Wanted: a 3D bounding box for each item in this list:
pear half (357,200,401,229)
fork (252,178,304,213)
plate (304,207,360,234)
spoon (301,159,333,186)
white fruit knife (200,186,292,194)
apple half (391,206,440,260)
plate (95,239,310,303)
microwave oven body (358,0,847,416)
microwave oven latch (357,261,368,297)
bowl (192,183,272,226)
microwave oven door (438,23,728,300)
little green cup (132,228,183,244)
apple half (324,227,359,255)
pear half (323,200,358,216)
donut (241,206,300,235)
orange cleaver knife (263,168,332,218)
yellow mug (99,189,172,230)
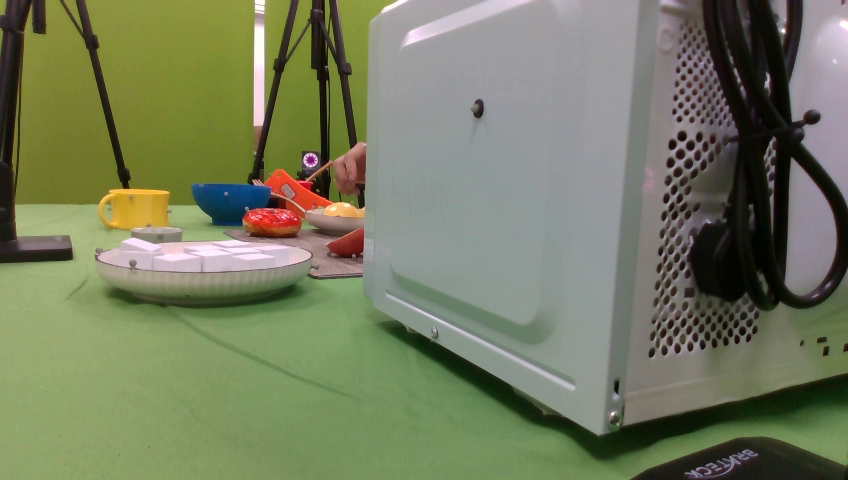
[{"bbox_3d":[-0.075,-0.046,1.132,0.076,0.056,0.110,12,5,30],"label":"pear half"},{"bbox_3d":[-0.295,-0.084,1.292,0.206,0.018,0.028,29,11,25],"label":"fork"},{"bbox_3d":[-0.123,-0.037,1.149,0.209,0.038,0.209,2,7,0],"label":"plate"},{"bbox_3d":[-0.316,-0.159,1.639,0.194,0.022,0.041,-49,32,-20],"label":"spoon"},{"bbox_3d":[-0.399,-0.111,1.368,0.208,0.016,0.027,-4,-19,-30],"label":"white fruit knife"},{"bbox_3d":[-0.006,-0.009,0.837,0.053,0.074,0.081,10,5,23],"label":"apple half"},{"bbox_3d":[-0.224,0.031,0.629,0.208,0.039,0.207,2,7,0],"label":"plate"},{"bbox_3d":[0.211,-0.047,0.474,0.444,0.260,0.324,-1,7,-28],"label":"microwave oven body"},{"bbox_3d":[-0.019,0.033,0.531,0.079,0.029,0.030,-1,7,-27],"label":"microwave oven latch"},{"bbox_3d":[-0.381,-0.071,1.202,0.151,0.077,0.151,3,7,0],"label":"bowl"},{"bbox_3d":[0.181,-0.072,0.621,0.358,0.243,0.039,-2,8,-29],"label":"microwave oven door"},{"bbox_3d":[-0.342,0.006,0.779,0.061,0.038,0.061,2,8,0],"label":"little green cup"},{"bbox_3d":[-0.096,0.002,0.848,0.081,0.033,0.081,-21,0,0],"label":"apple half"},{"bbox_3d":[-0.155,-0.059,1.197,0.088,0.031,0.070,14,31,0],"label":"pear half"},{"bbox_3d":[-0.263,-0.032,1.039,0.099,0.048,0.099,4,10,0],"label":"donut"},{"bbox_3d":[-0.262,-0.088,1.353,0.211,0.077,0.012,28,13,-1],"label":"orange cleaver knife"},{"bbox_3d":[-0.518,-0.055,1.080,0.099,0.064,0.131,6,9,26],"label":"yellow mug"}]
